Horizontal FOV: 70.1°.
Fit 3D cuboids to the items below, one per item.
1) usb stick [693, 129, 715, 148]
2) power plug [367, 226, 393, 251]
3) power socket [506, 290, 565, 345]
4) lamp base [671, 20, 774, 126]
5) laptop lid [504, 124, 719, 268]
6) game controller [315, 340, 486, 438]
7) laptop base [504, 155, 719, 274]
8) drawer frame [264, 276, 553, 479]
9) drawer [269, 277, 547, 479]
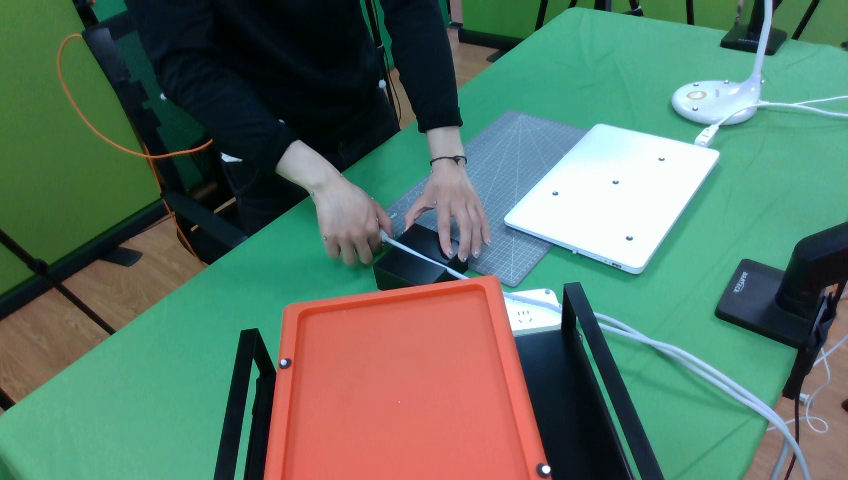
[{"bbox_3d":[0.501,-0.176,1.092,0.021,0.027,0.059,29,55,29],"label":"usb stick"},{"bbox_3d":[-0.068,0.009,0.958,0.035,0.053,0.072,-25,51,1],"label":"power plug"},{"bbox_3d":[0.081,0.112,0.822,0.227,0.033,0.072,-7,41,0],"label":"power socket"},{"bbox_3d":[0.581,-0.332,1.154,0.179,0.181,0.160,2,41,7],"label":"lamp base"},{"bbox_3d":[0.323,-0.093,1.021,0.240,0.013,0.358,23,49,32],"label":"laptop lid"},{"bbox_3d":[-0.021,0.120,0.534,0.155,0.052,0.096,-3,37,0],"label":"game controller"},{"bbox_3d":[0.325,-0.083,1.028,0.233,0.023,0.355,21,48,32],"label":"laptop base"},{"bbox_3d":[-0.016,0.137,0.490,0.202,0.083,0.212,-8,41,-1],"label":"drawer frame"},{"bbox_3d":[-0.018,0.137,0.493,0.195,0.073,0.210,-7,41,-1],"label":"drawer"}]
